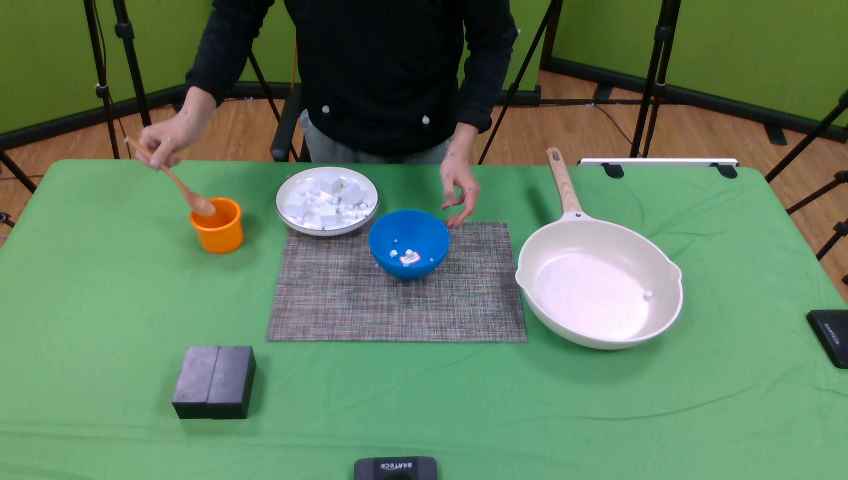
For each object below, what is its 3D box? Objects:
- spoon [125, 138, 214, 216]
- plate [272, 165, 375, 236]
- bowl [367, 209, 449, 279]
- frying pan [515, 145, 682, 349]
[{"bbox_3d":[-0.453,-0.112,1.085,0.021,0.195,0.041,-25,30,26],"label":"spoon"},{"bbox_3d":[-0.204,-0.076,1.240,0.208,0.039,0.206,3,44,-2],"label":"plate"},{"bbox_3d":[-0.031,0.020,1.132,0.151,0.077,0.150,2,46,-2],"label":"bowl"},{"bbox_3d":[0.303,-0.004,1.168,0.307,0.103,0.484,-2,55,-7],"label":"frying pan"}]
